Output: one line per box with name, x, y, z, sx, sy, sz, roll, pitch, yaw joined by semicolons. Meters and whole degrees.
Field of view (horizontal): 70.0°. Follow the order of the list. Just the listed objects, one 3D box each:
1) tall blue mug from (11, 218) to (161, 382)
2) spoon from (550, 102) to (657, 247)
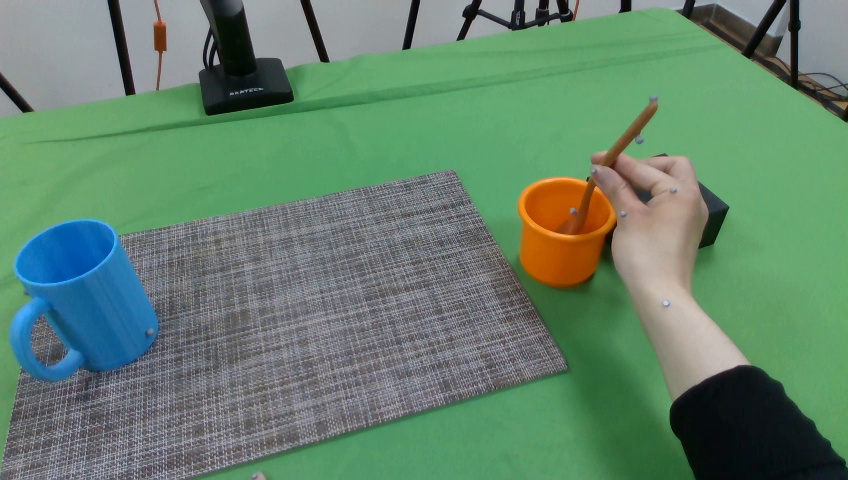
tall blue mug;-0.276;0.057;0.499;0.078;0.109;0.106;-6;44;-7
spoon;0.152;-0.050;0.535;0.021;0.195;0.041;27;56;8
